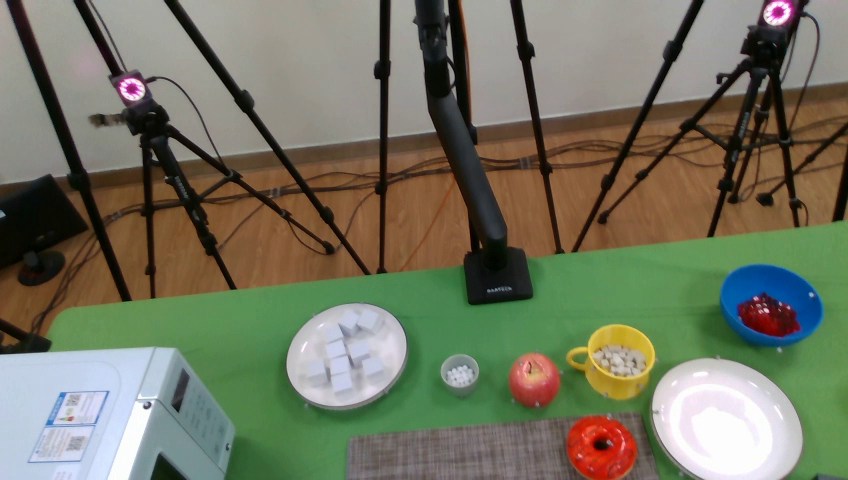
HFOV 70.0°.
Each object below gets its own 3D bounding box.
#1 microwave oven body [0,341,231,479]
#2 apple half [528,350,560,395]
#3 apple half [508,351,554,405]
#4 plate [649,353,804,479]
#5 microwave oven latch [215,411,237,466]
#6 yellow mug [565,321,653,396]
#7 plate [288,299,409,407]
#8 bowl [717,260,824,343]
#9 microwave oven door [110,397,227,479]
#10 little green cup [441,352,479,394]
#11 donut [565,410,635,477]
[{"bbox_3d":[-0.472,0.383,0.758,0.326,0.263,0.437,-3,48,5],"label":"microwave oven body"},{"bbox_3d":[0.194,0.205,0.954,0.033,0.082,0.080,-29,50,-11],"label":"apple half"},{"bbox_3d":[0.160,0.222,0.945,0.053,0.075,0.080,-29,54,-11],"label":"apple half"},{"bbox_3d":[0.437,0.264,0.889,0.209,0.038,0.207,-4,47,5],"label":"plate"},{"bbox_3d":[-0.312,0.307,0.935,0.030,0.030,0.078,-2,49,6],"label":"microwave oven latch"},{"bbox_3d":[0.291,0.187,0.962,0.130,0.064,0.099,1,48,11],"label":"yellow mug"},{"bbox_3d":[-0.126,0.194,1.036,0.207,0.039,0.205,-4,47,5],"label":"plate"},{"bbox_3d":[0.549,0.113,0.983,0.151,0.077,0.150,-4,48,5],"label":"bowl"},{"bbox_3d":[-0.329,0.400,0.713,0.039,0.246,0.352,-4,48,5],"label":"microwave oven door"},{"bbox_3d":[0.059,0.219,0.987,0.061,0.039,0.061,-4,48,5],"label":"little green cup"},{"bbox_3d":[0.254,0.295,0.879,0.099,0.049,0.098,-5,48,6],"label":"donut"}]
